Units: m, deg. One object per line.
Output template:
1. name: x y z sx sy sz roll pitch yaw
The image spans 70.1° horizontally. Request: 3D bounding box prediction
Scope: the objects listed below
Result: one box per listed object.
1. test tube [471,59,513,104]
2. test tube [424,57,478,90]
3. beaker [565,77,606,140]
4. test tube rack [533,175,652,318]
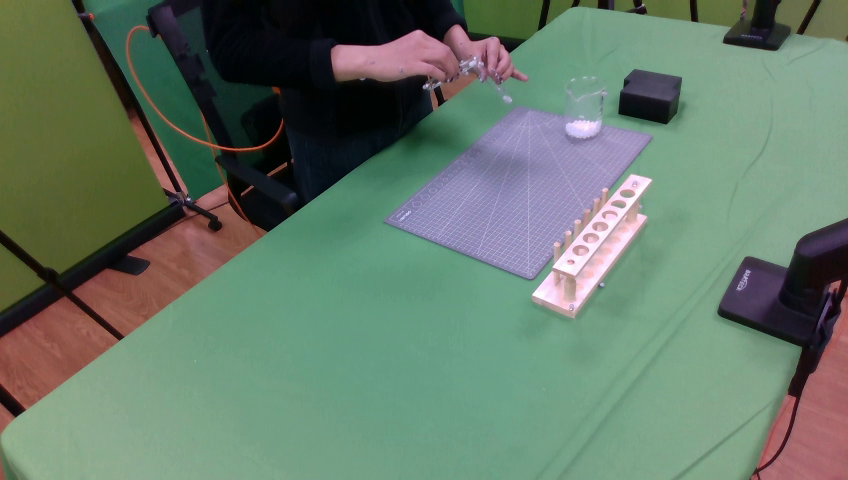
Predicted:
1. test tube: 0.125 -0.282 1.086 0.017 0.152 0.017 -10 69 30
2. test tube: 0.045 -0.269 0.974 0.017 0.017 0.151 17 37 29
3. beaker: 0.304 -0.247 1.153 0.073 0.101 0.084 15 47 27
4. test tube rack: 0.251 -0.001 0.889 0.066 0.085 0.243 22 49 33
